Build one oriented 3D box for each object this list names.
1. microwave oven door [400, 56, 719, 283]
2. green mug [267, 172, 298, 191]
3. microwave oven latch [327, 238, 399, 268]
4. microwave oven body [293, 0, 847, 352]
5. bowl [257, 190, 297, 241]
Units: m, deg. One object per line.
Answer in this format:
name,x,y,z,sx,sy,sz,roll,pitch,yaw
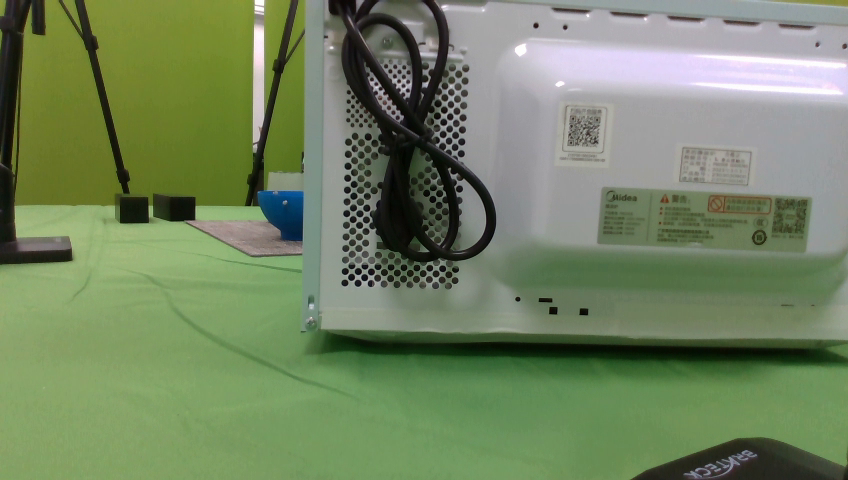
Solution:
microwave oven door,0.155,-0.077,0.698,0.356,0.243,0.039,2,8,-5
green mug,-0.277,-0.090,1.276,0.092,0.105,0.126,6,8,25
microwave oven latch,-0.069,0.015,0.694,0.079,0.029,0.030,3,7,-3
microwave oven body,0.122,-0.055,0.550,0.442,0.260,0.325,3,7,-5
bowl,-0.207,-0.041,1.027,0.151,0.077,0.151,2,8,0
